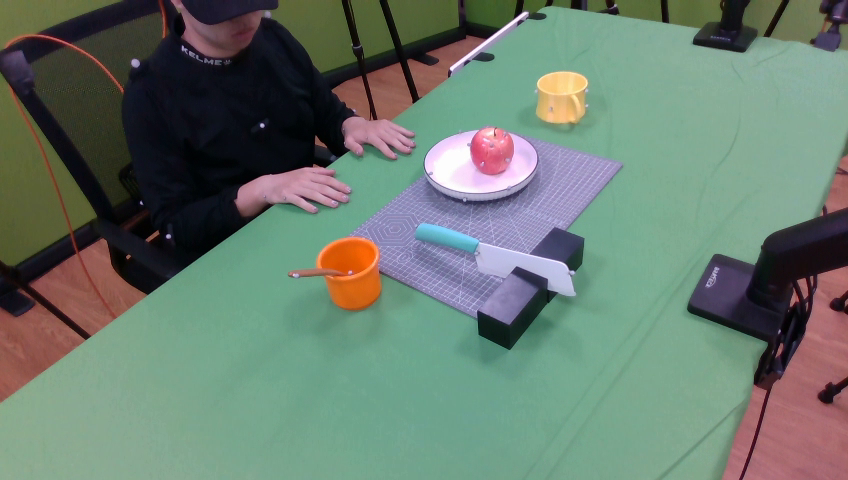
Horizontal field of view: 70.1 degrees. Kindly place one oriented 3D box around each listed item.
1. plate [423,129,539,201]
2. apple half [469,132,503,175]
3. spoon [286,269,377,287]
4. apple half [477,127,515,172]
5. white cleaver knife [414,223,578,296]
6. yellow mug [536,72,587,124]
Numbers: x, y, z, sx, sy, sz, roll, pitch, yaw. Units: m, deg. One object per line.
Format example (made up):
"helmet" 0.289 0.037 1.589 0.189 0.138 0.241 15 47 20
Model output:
"plate" 0.103 -0.132 1.092 0.209 0.038 0.208 -4 40 4
"apple half" 0.102 -0.146 1.067 0.033 0.081 0.080 -28 44 -29
"spoon" -0.125 0.049 0.831 0.041 0.195 0.021 22 92 28
"apple half" 0.132 -0.164 1.085 0.053 0.075 0.080 -28 41 -28
"white cleaver knife" 0.093 0.028 0.880 0.284 0.066 0.021 17 44 40
"yellow mug" 0.284 -0.281 1.222 0.100 0.064 0.130 -16 42 -9
